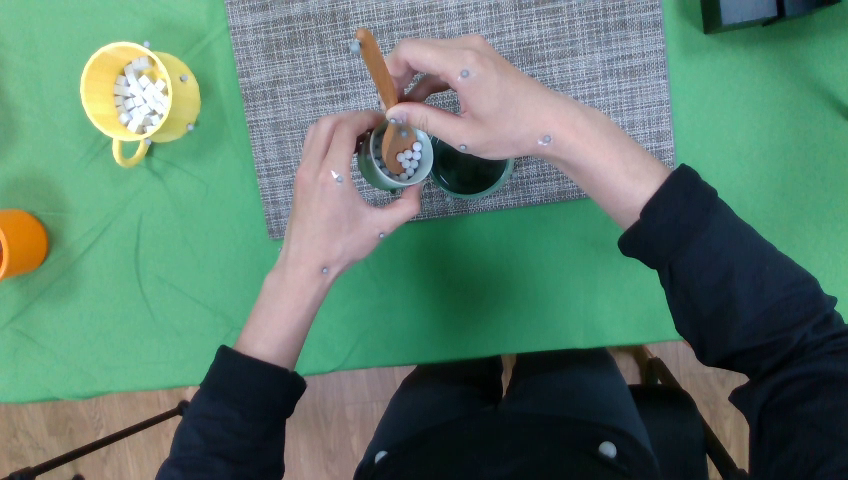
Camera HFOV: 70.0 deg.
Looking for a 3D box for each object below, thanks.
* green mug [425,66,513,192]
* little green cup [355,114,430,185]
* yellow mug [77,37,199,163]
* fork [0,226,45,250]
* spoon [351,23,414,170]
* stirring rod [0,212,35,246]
[{"bbox_3d":[0.046,-0.108,0.600,0.092,0.105,0.125,9,100,4],"label":"green mug"},{"bbox_3d":[-0.030,-0.077,0.533,0.062,0.038,0.061,0,90,-28],"label":"little green cup"},{"bbox_3d":[-0.308,-0.145,0.650,0.100,0.064,0.131,17,102,2],"label":"yellow mug"},{"bbox_3d":[-0.531,-0.004,0.651,0.209,0.018,0.028,2,99,-39],"label":"fork"},{"bbox_3d":[-0.027,-0.100,0.448,0.021,0.194,0.041,34,80,10],"label":"spoon"},{"bbox_3d":[-0.504,0.028,0.660,0.014,0.006,0.175,42,58,-4],"label":"stirring rod"}]
